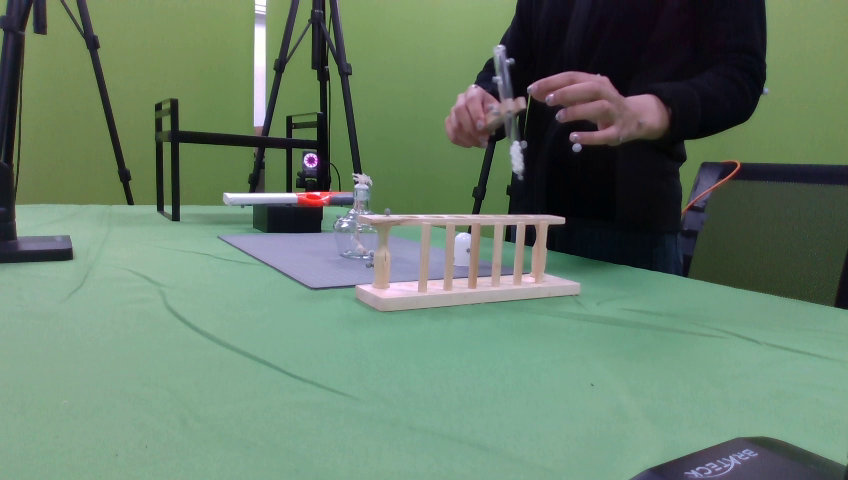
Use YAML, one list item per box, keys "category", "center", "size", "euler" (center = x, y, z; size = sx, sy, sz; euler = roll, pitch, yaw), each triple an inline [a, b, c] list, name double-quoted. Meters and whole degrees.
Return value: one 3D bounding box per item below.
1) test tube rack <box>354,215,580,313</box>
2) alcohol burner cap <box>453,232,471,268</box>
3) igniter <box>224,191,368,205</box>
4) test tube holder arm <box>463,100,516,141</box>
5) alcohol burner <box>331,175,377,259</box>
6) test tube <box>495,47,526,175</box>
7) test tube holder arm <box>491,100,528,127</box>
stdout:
- category: "test tube rack"
  center: [0.053, 0.019, 0.635]
  size: [0.243, 0.085, 0.066]
  euler: [-1, 8, -29]
- category: "alcohol burner cap"
  center: [0.053, 0.014, 0.823]
  size: [0.034, 0.048, 0.034]
  euler: [2, 6, 0]
- category: "igniter"
  center: [-0.237, -0.079, 1.157]
  size: [0.278, 0.025, 0.057]
  euler: [-2, 21, -31]
- category: "test tube holder arm"
  center: [0.079, -0.149, 0.770]
  size: [0.013, 0.015, 0.178]
  euler: [-6, 0, -15]
- category: "alcohol burner"
  center: [-0.091, -0.033, 0.855]
  size: [0.078, 0.119, 0.078]
  euler: [4, 7, 0]
- category: "test tube"
  center: [0.101, -0.150, 0.706]
  size: [0.017, 0.150, 0.017]
  euler: [-9, 1, 1]
- category: "test tube holder arm"
  center: [0.098, -0.152, 0.729]
  size: [0.010, 0.015, 0.087]
  euler: [-7, 0, -23]
